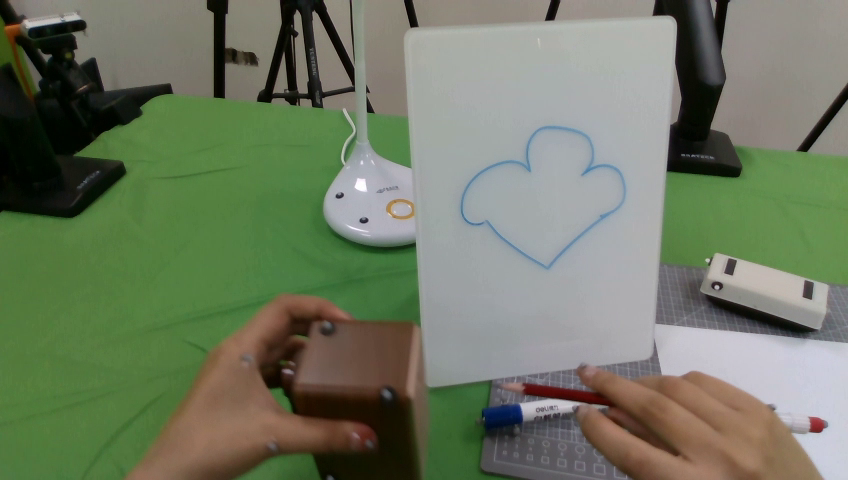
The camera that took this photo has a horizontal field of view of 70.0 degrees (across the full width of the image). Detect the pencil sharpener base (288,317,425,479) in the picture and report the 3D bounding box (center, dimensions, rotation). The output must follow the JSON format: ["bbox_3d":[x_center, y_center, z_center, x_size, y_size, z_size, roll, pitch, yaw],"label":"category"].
[{"bbox_3d":[-0.042,0.106,0.401,0.076,0.108,0.061,1,42,6],"label":"pencil sharpener base"}]

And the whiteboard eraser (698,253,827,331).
[{"bbox_3d":[0.341,0.053,0.614,0.112,0.042,0.055,19,42,23],"label":"whiteboard eraser"}]

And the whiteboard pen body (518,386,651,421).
[{"bbox_3d":[0.123,0.139,0.509,0.141,0.017,0.017,-6,37,-7],"label":"whiteboard pen body"}]

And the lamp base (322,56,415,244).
[{"bbox_3d":[-0.053,-0.113,0.714,0.161,0.182,0.177,-24,41,-29],"label":"lamp base"}]

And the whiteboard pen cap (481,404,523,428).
[{"bbox_3d":[0.064,0.145,0.501,0.033,0.018,0.018,-6,37,-8],"label":"whiteboard pen cap"}]

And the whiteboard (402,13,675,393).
[{"bbox_3d":[0.090,-0.040,0.567,0.217,0.307,0.143,-6,18,-7],"label":"whiteboard"}]

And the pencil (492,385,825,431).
[{"bbox_3d":[0.138,0.100,0.369,0.194,0.012,0.012,4,37,8],"label":"pencil"}]

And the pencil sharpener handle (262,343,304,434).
[{"bbox_3d":[-0.094,0.099,0.394,0.030,0.068,0.036,1,25,6],"label":"pencil sharpener handle"}]
